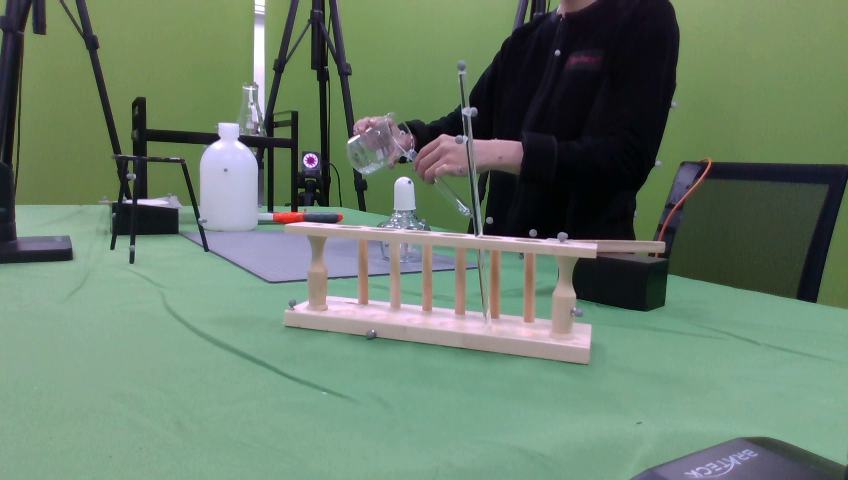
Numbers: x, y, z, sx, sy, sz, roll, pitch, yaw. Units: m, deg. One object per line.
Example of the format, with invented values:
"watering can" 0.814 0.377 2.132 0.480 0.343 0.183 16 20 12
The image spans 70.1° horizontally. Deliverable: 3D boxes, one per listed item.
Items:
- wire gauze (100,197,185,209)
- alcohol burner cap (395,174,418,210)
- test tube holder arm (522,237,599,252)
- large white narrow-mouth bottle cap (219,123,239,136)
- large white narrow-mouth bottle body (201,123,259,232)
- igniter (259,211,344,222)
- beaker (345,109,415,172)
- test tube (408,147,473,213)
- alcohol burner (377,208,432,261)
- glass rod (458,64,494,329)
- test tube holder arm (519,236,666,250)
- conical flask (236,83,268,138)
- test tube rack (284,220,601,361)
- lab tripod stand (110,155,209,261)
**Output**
"wire gauze" -0.469 -0.062 1.008 0.126 0.011 0.121 -2 8 -25
"alcohol burner cap" -0.026 -0.067 0.833 0.034 0.048 0.034 -2 12 1
"test tube holder arm" 0.144 0.005 0.636 0.088 0.015 0.010 -1 16 -19
"large white narrow-mouth bottle cap" -0.356 -0.201 1.104 0.038 0.024 0.037 2 8 0
"large white narrow-mouth bottle body" -0.358 -0.116 1.116 0.102 0.194 0.102 2 8 0
"igniter" -0.302 -0.048 1.249 0.278 0.025 0.057 -2 -2 -27
"beaker" -0.076 -0.163 1.029 0.100 0.084 0.074 -25 -1 28
"test tube" 0.026 -0.098 0.982 0.150 0.017 0.017 47 26 17
"alcohol burner" -0.027 -0.031 0.838 0.078 0.119 0.078 0 6 0
"glass rod" 0.039 -0.029 0.449 0.008 0.199 0.008 -7 9 1
"test tube holder arm" 0.186 0.003 0.656 0.179 0.015 0.013 -1 16 -19
"conical flask" -0.400 -0.298 1.396 0.075 0.122 0.075 2 8 0
"test tube rack" 0.013 0.032 0.482 0.242 0.085 0.067 4 7 16
"lab tripod stand" -0.361 -0.046 0.806 0.148 0.131 0.148 2 5 0
